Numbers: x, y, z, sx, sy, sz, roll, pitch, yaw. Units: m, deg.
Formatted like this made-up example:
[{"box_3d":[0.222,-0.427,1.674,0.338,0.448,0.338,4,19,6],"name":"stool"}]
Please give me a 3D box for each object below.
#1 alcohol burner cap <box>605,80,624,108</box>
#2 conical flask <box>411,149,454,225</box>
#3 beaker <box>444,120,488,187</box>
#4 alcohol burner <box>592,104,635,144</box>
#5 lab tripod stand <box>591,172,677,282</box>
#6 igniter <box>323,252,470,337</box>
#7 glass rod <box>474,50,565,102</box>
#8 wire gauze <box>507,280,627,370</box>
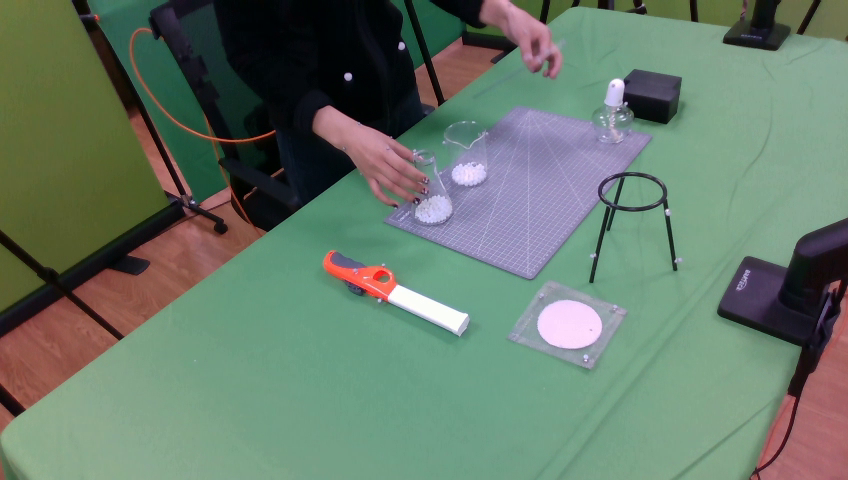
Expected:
[{"box_3d":[0.350,-0.269,1.102,0.034,0.048,0.033,-2,46,2],"name":"alcohol burner cap"},{"box_3d":[0.008,-0.091,1.007,0.075,0.122,0.075,-5,40,5],"name":"conical flask"},{"box_3d":[0.078,-0.150,1.083,0.074,0.101,0.083,-9,41,1],"name":"beaker"},{"box_3d":[0.353,-0.242,1.126,0.078,0.119,0.077,-5,38,5],"name":"alcohol burner"},{"box_3d":[0.292,-0.022,0.867,0.148,0.132,0.147,-7,39,6],"name":"lab tripod stand"},{"box_3d":[-0.052,0.075,0.901,0.274,0.025,0.057,22,60,32],"name":"igniter"},{"box_3d":[0.173,-0.304,1.128,0.198,0.008,0.008,-23,31,33],"name":"glass rod"},{"box_3d":[0.196,0.114,0.823,0.120,0.011,0.125,20,50,31],"name":"wire gauze"}]
